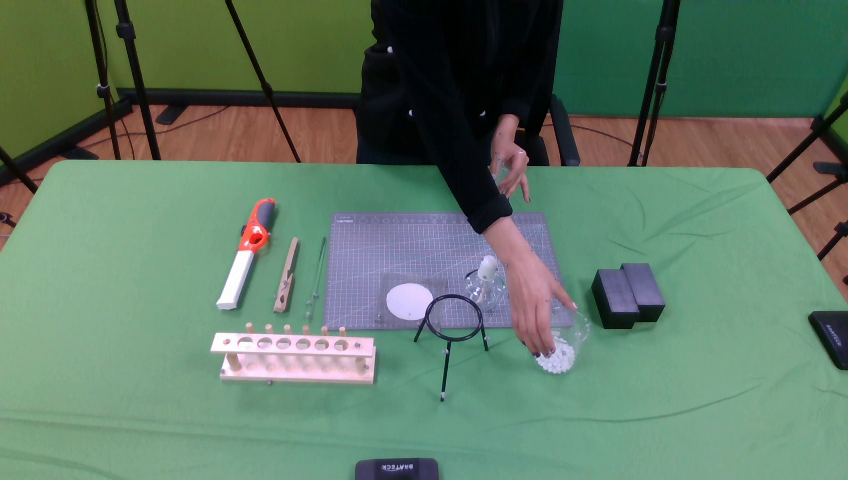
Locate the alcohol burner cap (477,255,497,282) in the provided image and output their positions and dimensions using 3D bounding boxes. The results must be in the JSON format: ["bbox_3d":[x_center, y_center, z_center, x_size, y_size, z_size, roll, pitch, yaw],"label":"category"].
[{"bbox_3d":[0.110,0.047,1.046,0.034,0.048,0.033,2,52,-2],"label":"alcohol burner cap"}]

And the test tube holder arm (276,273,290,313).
[{"bbox_3d":[-0.254,0.093,1.094,0.010,0.015,0.087,29,38,-27],"label":"test tube holder arm"}]

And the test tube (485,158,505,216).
[{"bbox_3d":[0.135,-0.099,1.166,0.017,0.151,0.017,3,50,-3],"label":"test tube"}]

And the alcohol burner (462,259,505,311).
[{"bbox_3d":[0.108,0.071,1.072,0.078,0.119,0.077,4,45,-4],"label":"alcohol burner"}]

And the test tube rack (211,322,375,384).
[{"bbox_3d":[-0.203,0.176,0.969,0.242,0.085,0.066,3,46,-2],"label":"test tube rack"}]

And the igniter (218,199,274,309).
[{"bbox_3d":[-0.336,0.017,1.153,0.057,0.025,0.275,-2,45,8],"label":"igniter"}]

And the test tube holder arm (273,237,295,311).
[{"bbox_3d":[-0.259,0.059,1.123,0.013,0.015,0.177,28,38,-27],"label":"test tube holder arm"}]

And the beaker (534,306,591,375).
[{"bbox_3d":[0.226,0.169,1.002,0.084,0.101,0.073,-6,47,-10],"label":"beaker"}]

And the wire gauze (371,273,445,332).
[{"bbox_3d":[-0.028,0.108,1.100,0.125,0.011,0.121,7,45,4],"label":"wire gauze"}]

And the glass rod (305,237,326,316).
[{"bbox_3d":[-0.202,0.064,1.131,0.008,0.008,0.198,4,43,0],"label":"glass rod"}]

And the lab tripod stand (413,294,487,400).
[{"bbox_3d":[0.044,0.159,0.972,0.148,0.132,0.147,3,44,-2],"label":"lab tripod stand"}]
